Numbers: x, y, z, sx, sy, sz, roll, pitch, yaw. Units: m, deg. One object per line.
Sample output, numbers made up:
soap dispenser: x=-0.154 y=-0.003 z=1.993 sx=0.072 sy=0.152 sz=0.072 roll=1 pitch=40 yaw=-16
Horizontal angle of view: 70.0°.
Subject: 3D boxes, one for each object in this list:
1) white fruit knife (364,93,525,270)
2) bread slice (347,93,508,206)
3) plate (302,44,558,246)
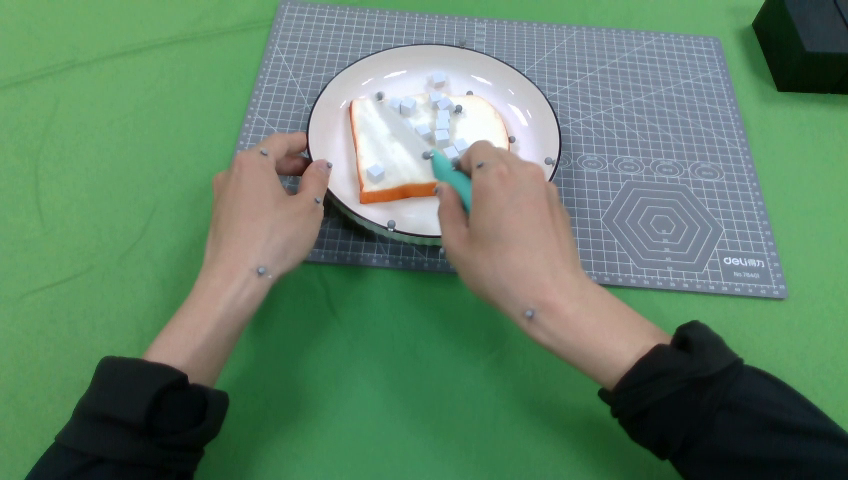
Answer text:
white fruit knife: x=0.006 y=-0.054 z=0.446 sx=0.016 sy=0.027 sz=0.205 roll=-21 pitch=52 yaw=-28
bread slice: x=0.003 y=-0.083 z=0.510 sx=0.132 sy=0.019 sz=0.104 roll=-9 pitch=59 yaw=-7
plate: x=0.005 y=-0.080 z=0.505 sx=0.209 sy=0.038 sz=0.207 roll=2 pitch=59 yaw=-2
